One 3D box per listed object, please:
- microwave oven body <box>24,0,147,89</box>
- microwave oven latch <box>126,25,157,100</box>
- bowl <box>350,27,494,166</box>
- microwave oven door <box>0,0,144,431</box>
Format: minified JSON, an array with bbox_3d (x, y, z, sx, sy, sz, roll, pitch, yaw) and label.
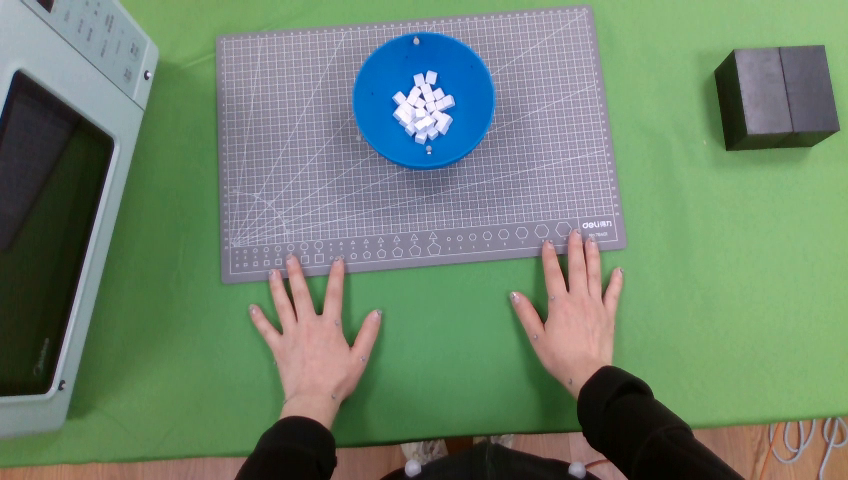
[{"bbox_3d":[-0.500,-0.071,0.559,0.326,0.261,0.440,9,80,2],"label":"microwave oven body"},{"bbox_3d":[-0.324,-0.200,0.681,0.030,0.029,0.079,10,80,2],"label":"microwave oven latch"},{"bbox_3d":[-0.001,-0.144,0.664,0.151,0.077,0.150,0,80,1],"label":"bowl"},{"bbox_3d":[-0.363,-0.008,0.542,0.039,0.244,0.354,9,79,3],"label":"microwave oven door"}]
